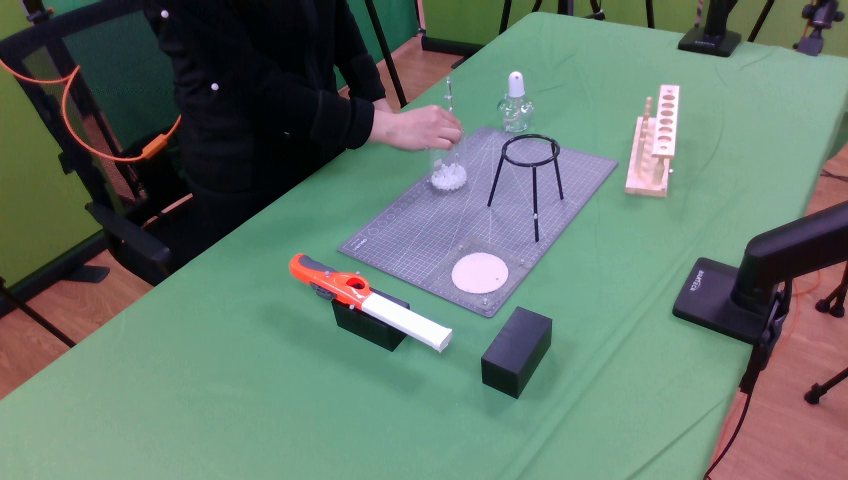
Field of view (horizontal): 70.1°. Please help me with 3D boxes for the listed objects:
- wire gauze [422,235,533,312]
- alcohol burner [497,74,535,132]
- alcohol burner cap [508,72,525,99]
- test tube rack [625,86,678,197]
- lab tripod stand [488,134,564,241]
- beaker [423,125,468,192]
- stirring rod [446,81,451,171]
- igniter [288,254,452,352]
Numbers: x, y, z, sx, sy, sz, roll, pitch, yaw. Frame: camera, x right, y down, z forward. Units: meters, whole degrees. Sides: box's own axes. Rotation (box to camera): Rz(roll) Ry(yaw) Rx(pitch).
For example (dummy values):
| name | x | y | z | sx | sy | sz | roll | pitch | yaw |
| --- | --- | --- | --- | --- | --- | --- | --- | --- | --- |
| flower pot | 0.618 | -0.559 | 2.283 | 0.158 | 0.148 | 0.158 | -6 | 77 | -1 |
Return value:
| name | x | y | z | sx | sy | sz | roll | pitch | yaw |
| --- | --- | --- | --- | --- | --- | --- | --- | --- | --- |
| wire gauze | 0.081 | 0.049 | 0.914 | 0.120 | 0.011 | 0.125 | 26 | 52 | 32 |
| alcohol burner | 0.184 | -0.278 | 1.210 | 0.078 | 0.119 | 0.077 | -3 | 42 | 3 |
| alcohol burner cap | 0.181 | -0.306 | 1.186 | 0.034 | 0.048 | 0.033 | -7 | 39 | 6 |
| test tube rack | 0.412 | -0.184 | 1.088 | 0.066 | 0.085 | 0.242 | 9 | 43 | 18 |
| lab tripod stand | 0.168 | -0.092 | 0.972 | 0.148 | 0.132 | 0.147 | -5 | 41 | 5 |
| beaker | 0.043 | -0.144 | 1.078 | 0.073 | 0.100 | 0.084 | 28 | 51 | 34 |
| stirring rod | 0.042 | -0.190 | 1.029 | 0.006 | 0.177 | 0.014 | 6 | 44 | 10 |
| igniter | -0.083 | 0.079 | 0.818 | 0.274 | 0.025 | 0.057 | 23 | 46 | 27 |
